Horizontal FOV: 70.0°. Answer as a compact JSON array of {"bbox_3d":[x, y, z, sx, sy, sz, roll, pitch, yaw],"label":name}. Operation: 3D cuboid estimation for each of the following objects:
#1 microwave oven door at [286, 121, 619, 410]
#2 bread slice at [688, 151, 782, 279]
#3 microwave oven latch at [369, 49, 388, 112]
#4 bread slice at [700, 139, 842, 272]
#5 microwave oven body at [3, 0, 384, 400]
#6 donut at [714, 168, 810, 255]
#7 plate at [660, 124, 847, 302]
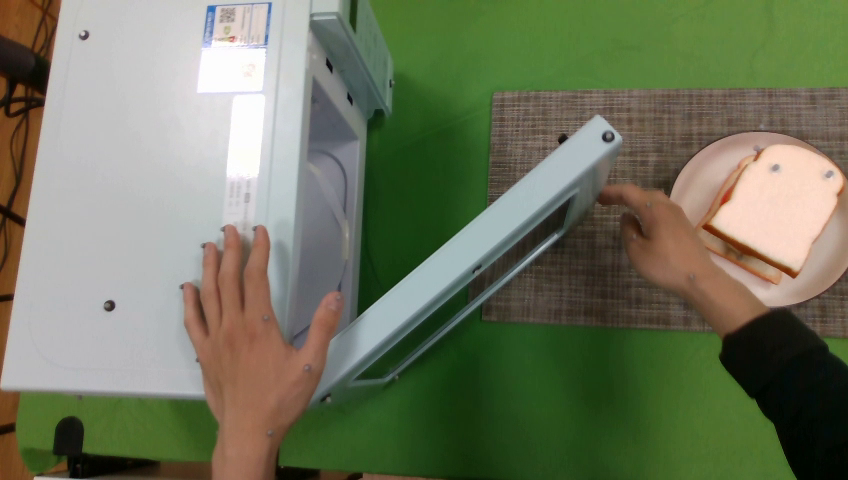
[{"bbox_3d":[0.041,0.042,0.622,0.356,0.245,0.039,-41,75,0],"label":"microwave oven door"},{"bbox_3d":[0.382,-0.036,0.702,0.106,0.018,0.134,26,84,12],"label":"bread slice"},{"bbox_3d":[-0.062,-0.210,0.790,0.030,0.029,0.079,0,80,8],"label":"microwave oven latch"},{"bbox_3d":[0.375,-0.046,0.646,0.104,0.019,0.131,31,82,19],"label":"bread slice"},{"bbox_3d":[-0.227,-0.054,0.687,0.325,0.261,0.440,-1,80,8],"label":"microwave oven body"},{"bbox_3d":[0.374,-0.032,0.675,0.099,0.048,0.098,-2,80,9],"label":"donut"},{"bbox_3d":[0.379,-0.029,0.702,0.207,0.039,0.206,-2,79,8],"label":"plate"}]
